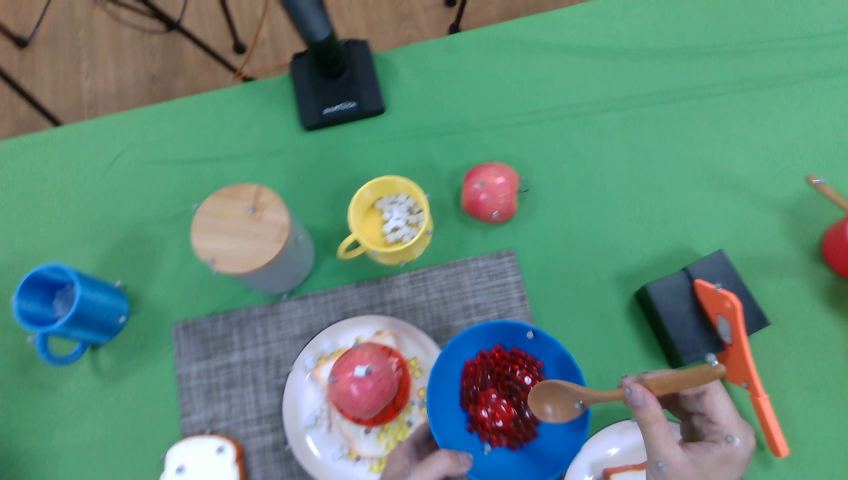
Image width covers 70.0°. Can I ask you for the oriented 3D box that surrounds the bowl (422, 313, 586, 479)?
[{"bbox_3d":[0.071,0.153,0.581,0.151,0.077,0.150,1,67,-3],"label":"bowl"}]

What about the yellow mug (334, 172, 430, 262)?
[{"bbox_3d":[-0.058,-0.019,0.766,0.131,0.064,0.099,-34,75,-5],"label":"yellow mug"}]

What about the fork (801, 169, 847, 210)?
[{"bbox_3d":[0.482,-0.030,0.686,0.209,0.018,0.028,28,72,-31],"label":"fork"}]

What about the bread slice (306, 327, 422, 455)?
[{"bbox_3d":[-0.062,0.183,0.718,0.107,0.018,0.133,-29,75,-3],"label":"bread slice"}]

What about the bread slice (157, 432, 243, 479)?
[{"bbox_3d":[-0.266,0.294,0.713,0.105,0.019,0.131,-5,75,2],"label":"bread slice"}]

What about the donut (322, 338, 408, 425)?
[{"bbox_3d":[-0.068,0.162,0.696,0.099,0.048,0.098,-1,74,5],"label":"donut"}]

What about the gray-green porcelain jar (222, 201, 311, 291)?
[{"bbox_3d":[-0.199,0.003,0.738,0.106,0.127,0.105,-1,73,4],"label":"gray-green porcelain jar"}]

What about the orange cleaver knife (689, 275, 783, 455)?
[{"bbox_3d":[0.349,0.138,0.683,0.012,0.077,0.211,-23,95,-10],"label":"orange cleaver knife"}]

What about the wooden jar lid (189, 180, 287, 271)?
[{"bbox_3d":[-0.205,-0.015,0.677,0.108,0.021,0.107,-1,71,2],"label":"wooden jar lid"}]

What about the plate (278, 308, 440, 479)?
[{"bbox_3d":[-0.067,0.186,0.718,0.207,0.039,0.206,-1,74,4],"label":"plate"}]

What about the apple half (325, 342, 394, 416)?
[{"bbox_3d":[-0.073,0.152,0.662,0.081,0.033,0.081,-3,73,10],"label":"apple half"}]

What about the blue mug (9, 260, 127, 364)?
[{"bbox_3d":[-0.435,0.093,0.740,0.082,0.106,0.116,8,75,6],"label":"blue mug"}]

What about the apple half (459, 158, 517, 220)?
[{"bbox_3d":[0.082,-0.071,0.777,0.074,0.054,0.080,8,75,9],"label":"apple half"}]

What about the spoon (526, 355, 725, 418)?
[{"bbox_3d":[0.143,0.113,0.461,0.021,0.193,0.041,-33,89,-33],"label":"spoon"}]

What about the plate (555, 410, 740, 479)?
[{"bbox_3d":[0.245,0.296,0.668,0.209,0.038,0.208,-1,74,5],"label":"plate"}]
